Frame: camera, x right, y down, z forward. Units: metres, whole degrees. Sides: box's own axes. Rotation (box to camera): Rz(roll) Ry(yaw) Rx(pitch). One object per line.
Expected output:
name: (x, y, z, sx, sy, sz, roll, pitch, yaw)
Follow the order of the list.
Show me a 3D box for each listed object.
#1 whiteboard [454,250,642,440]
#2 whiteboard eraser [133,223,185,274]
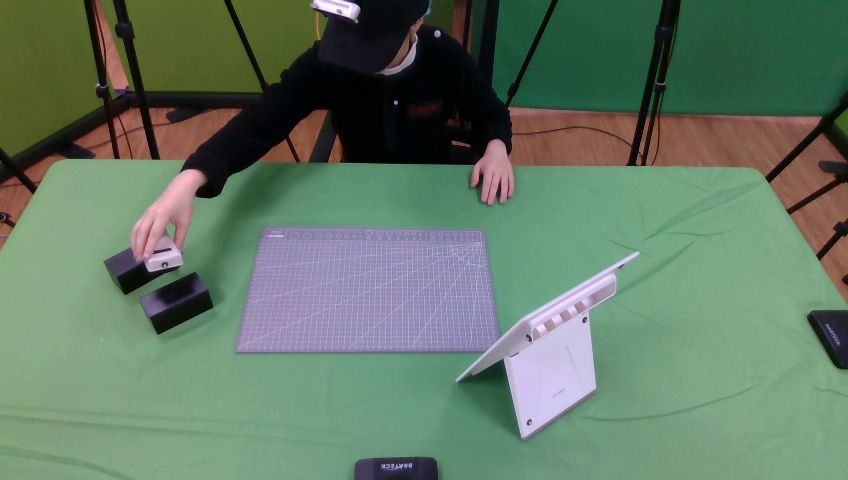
whiteboard: (0.206, 0.175, 0.889, 0.217, 0.306, 0.143, -24, 72, -25)
whiteboard eraser: (-0.456, 0.015, 1.039, 0.056, 0.042, 0.112, -18, 42, -32)
